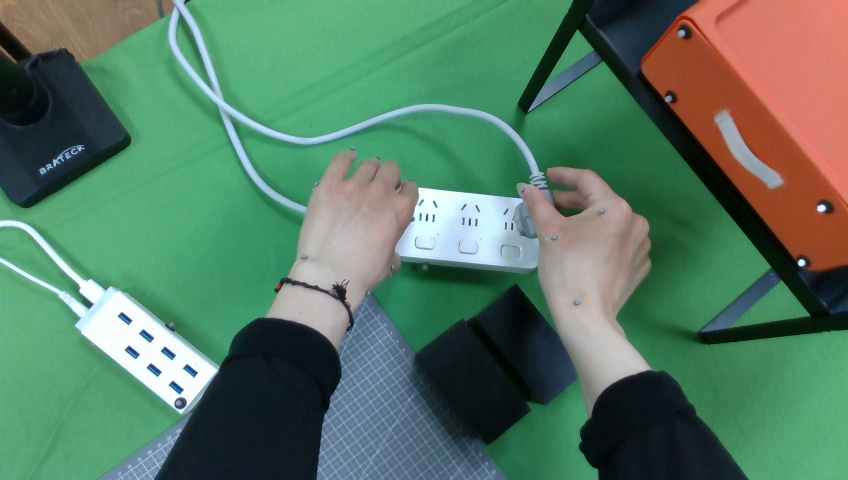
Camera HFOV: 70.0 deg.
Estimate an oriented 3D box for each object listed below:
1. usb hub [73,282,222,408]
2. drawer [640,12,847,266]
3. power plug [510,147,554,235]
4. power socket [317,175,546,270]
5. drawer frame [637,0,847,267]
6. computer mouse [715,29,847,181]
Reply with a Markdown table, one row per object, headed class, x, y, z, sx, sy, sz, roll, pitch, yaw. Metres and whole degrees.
| class | x | y | z | sx | sy | sz | roll | pitch | yaw |
| --- | --- | --- | --- | --- | --- | --- | --- | --- | --- |
| usb hub | -0.249 | 0.095 | 0.547 | 0.125 | 0.025 | 0.049 | 38 | 79 | 2 |
| drawer | 0.300 | -0.120 | 0.437 | 0.212 | 0.073 | 0.194 | -36 | 84 | -12 |
| power plug | 0.098 | -0.041 | 0.553 | 0.035 | 0.052 | 0.072 | 10 | 75 | -22 |
| power socket | 0.011 | -0.017 | 0.593 | 0.227 | 0.032 | 0.072 | 6 | 78 | -4 |
| drawer frame | 0.302 | -0.123 | 0.436 | 0.213 | 0.083 | 0.201 | -37 | 84 | -12 |
| computer mouse | 0.275 | -0.102 | 0.446 | 0.063 | 0.041 | 0.117 | -40 | 83 | -8 |
